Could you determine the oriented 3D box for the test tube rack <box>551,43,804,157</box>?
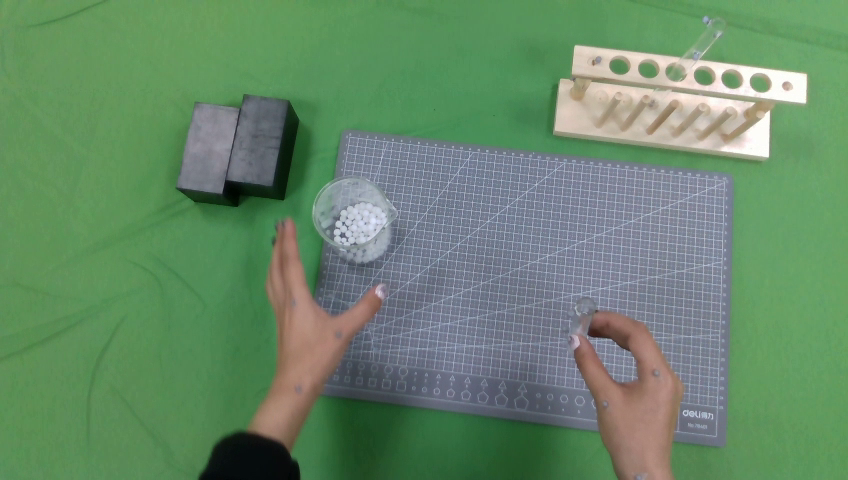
[{"bbox_3d":[0.271,-0.152,0.667,0.242,0.085,0.066,7,78,2],"label":"test tube rack"}]

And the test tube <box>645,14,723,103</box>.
[{"bbox_3d":[0.262,-0.181,0.623,0.017,0.151,0.017,1,75,-2],"label":"test tube"}]

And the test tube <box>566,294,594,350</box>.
[{"bbox_3d":[0.136,0.076,0.536,0.017,0.152,0.017,-3,68,9],"label":"test tube"}]

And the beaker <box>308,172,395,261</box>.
[{"bbox_3d":[-0.070,-0.020,0.631,0.084,0.100,0.073,-1,78,0],"label":"beaker"}]
